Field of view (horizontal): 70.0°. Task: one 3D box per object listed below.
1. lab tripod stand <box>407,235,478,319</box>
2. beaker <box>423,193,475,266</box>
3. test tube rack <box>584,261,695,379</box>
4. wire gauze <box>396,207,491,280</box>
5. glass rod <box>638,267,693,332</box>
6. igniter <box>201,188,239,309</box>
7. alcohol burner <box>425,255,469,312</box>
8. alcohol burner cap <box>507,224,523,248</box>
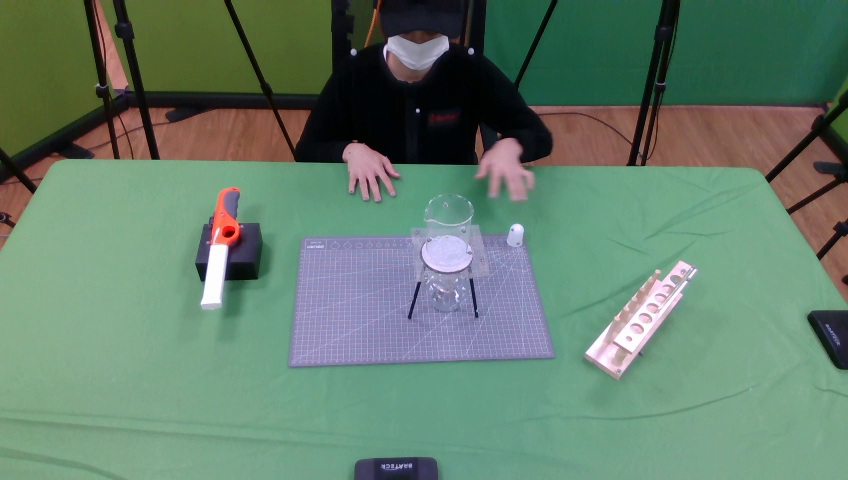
[{"bbox_3d":[0.032,0.065,1.057,0.148,0.132,0.147,1,45,-1],"label":"lab tripod stand"},{"bbox_3d":[0.036,-0.013,0.973,0.084,0.101,0.073,-18,48,-20],"label":"beaker"},{"bbox_3d":[0.380,0.127,1.062,0.066,0.085,0.242,34,53,26],"label":"test tube rack"},{"bbox_3d":[0.032,0.006,1.001,0.125,0.011,0.120,-20,52,-16],"label":"wire gauze"},{"bbox_3d":[0.394,0.101,0.995,0.008,0.200,0.008,4,53,-5],"label":"glass rod"},{"bbox_3d":[-0.367,0.006,1.095,0.057,0.025,0.274,-2,49,-7],"label":"igniter"},{"bbox_3d":[0.041,0.072,1.065,0.078,0.120,0.077,1,46,-1],"label":"alcohol burner"},{"bbox_3d":[0.183,-0.010,1.206,0.034,0.048,0.033,0,44,0],"label":"alcohol burner cap"}]
